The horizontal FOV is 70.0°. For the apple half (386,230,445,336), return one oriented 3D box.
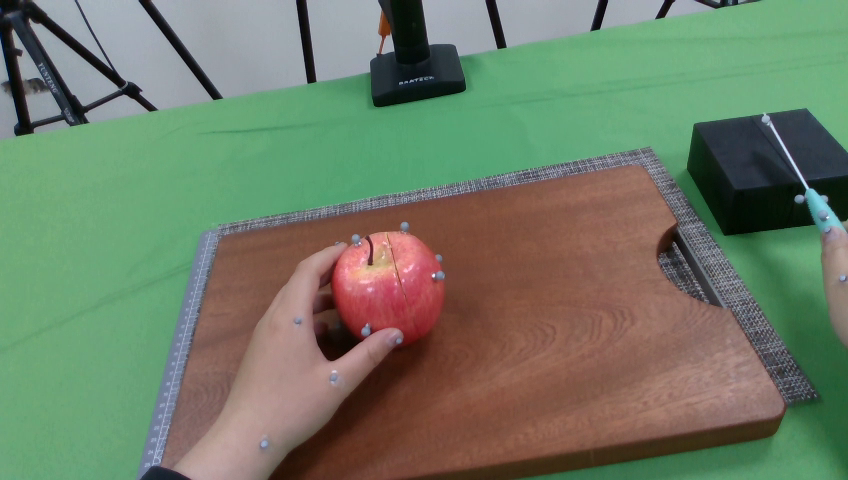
[{"bbox_3d":[-0.001,0.028,0.439,0.033,0.082,0.080,-18,42,-1],"label":"apple half"}]

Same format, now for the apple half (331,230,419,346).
[{"bbox_3d":[-0.038,0.040,0.437,0.053,0.075,0.080,-19,46,-1],"label":"apple half"}]

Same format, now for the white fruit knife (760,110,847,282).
[{"bbox_3d":[0.289,-0.026,0.447,0.016,0.028,0.205,-28,47,27],"label":"white fruit knife"}]
